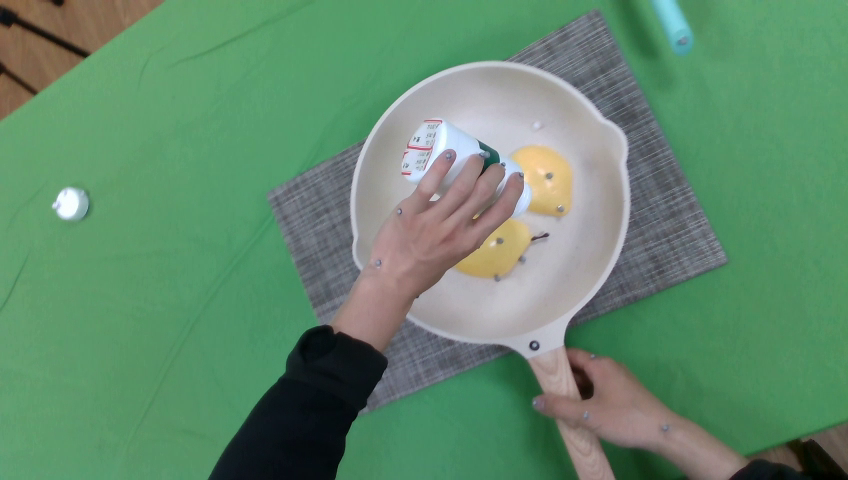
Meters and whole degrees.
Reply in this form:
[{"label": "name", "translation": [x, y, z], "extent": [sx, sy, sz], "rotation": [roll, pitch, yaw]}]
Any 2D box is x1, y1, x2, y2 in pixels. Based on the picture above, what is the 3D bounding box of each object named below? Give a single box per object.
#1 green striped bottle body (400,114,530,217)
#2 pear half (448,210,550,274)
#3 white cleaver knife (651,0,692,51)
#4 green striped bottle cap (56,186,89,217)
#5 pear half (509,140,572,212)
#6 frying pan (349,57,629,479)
[{"label": "green striped bottle body", "translation": [0.043, -0.062, 0.557], "extent": [0.063, 0.120, 0.062], "rotation": [-35, 43, 41]}, {"label": "pear half", "translation": [0.079, -0.003, 0.653], "extent": [0.109, 0.056, 0.076], "rotation": [-12, 91, 15]}, {"label": "white cleaver knife", "translation": [0.206, -0.319, 0.614], "extent": [0.021, 0.066, 0.285], "rotation": [-24, 81, 21]}, {"label": "green striped bottle cap", "translation": [-0.493, -0.054, 0.851], "extent": [0.044, 0.020, 0.044], "rotation": [0, 89, 18]}, {"label": "pear half", "translation": [0.123, -0.068, 0.650], "extent": [0.070, 0.031, 0.087], "rotation": [-42, 74, 17]}, {"label": "frying pan", "translation": [0.099, 0.053, 0.621], "extent": [0.306, 0.103, 0.485], "rotation": [-24, 74, 16]}]
